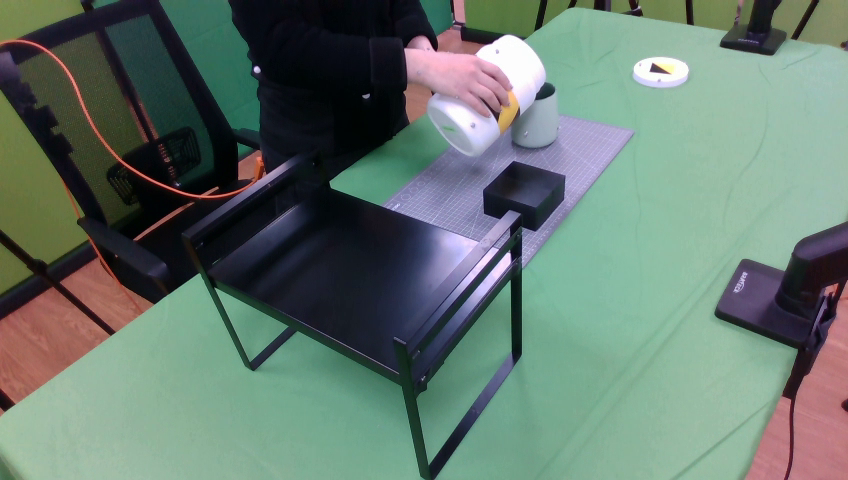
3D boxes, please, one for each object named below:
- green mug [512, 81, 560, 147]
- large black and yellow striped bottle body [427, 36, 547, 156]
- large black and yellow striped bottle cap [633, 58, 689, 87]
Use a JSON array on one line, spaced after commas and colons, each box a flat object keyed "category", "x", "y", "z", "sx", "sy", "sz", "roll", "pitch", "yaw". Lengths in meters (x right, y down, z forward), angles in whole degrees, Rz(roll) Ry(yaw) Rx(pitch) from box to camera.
[{"category": "green mug", "x": 0.217, "y": -0.251, "z": 1.169, "sx": 0.092, "sy": 0.105, "sz": 0.125, "roll": 1, "pitch": 41, "yaw": 12}, {"category": "large black and yellow striped bottle body", "x": 0.111, "y": -0.251, "z": 1.047, "sx": 0.184, "sy": 0.132, "sz": 0.129, "roll": -45, "pitch": 49, "yaw": -7}, {"category": "large black and yellow striped bottle cap", "x": 0.521, "y": -0.370, "z": 1.331, "sx": 0.115, "sy": 0.019, "sz": 0.114, "roll": -3, "pitch": 41, "yaw": 3}]
